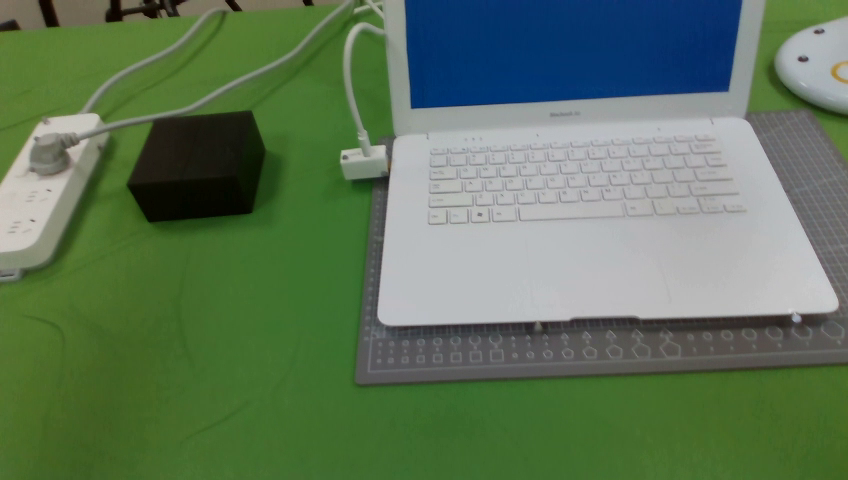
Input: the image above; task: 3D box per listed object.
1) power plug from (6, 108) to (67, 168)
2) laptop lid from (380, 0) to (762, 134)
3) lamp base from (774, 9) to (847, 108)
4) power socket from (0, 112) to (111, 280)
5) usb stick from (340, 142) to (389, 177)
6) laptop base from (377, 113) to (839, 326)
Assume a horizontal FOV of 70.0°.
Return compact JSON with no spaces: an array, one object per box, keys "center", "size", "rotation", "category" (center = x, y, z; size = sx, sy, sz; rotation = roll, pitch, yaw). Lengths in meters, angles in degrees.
[{"center":[-0.378,-0.105,0.590],"size":[0.053,0.073,0.035],"rotation":[9,30,-19],"category":"power plug"},{"center":[0.134,-0.217,0.564],"size":[0.356,0.243,0.013],"rotation":[-4,27,4],"category":"laptop lid"},{"center":[0.462,-0.249,0.599],"size":[0.159,0.182,0.178],"rotation":[24,53,25],"category":"lamp base"},{"center":[-0.384,-0.056,0.615],"size":[0.072,0.033,0.224],"rotation":[-4,47,0],"category":"power socket"},{"center":[-0.051,-0.079,0.594],"size":[0.059,0.027,0.021],"rotation":[-4,47,3],"category":"usb stick"},{"center":[0.141,-0.025,0.541],"size":[0.354,0.023,0.233],"rotation":[-2,52,4],"category":"laptop base"}]
